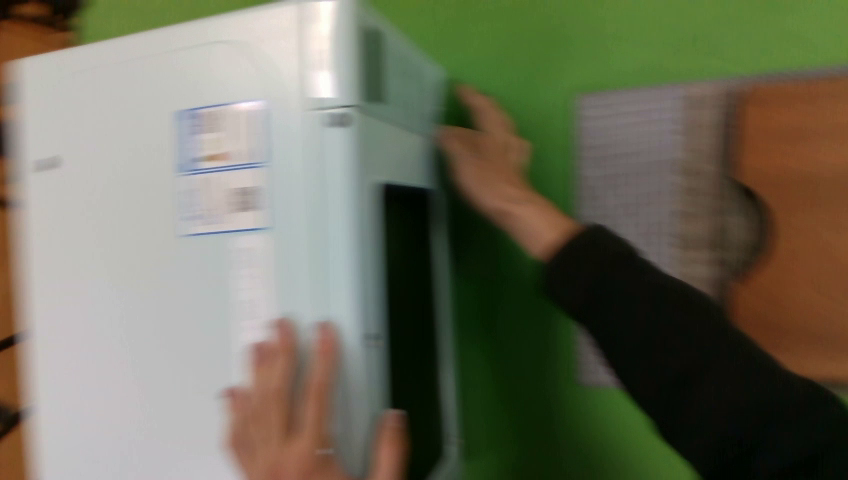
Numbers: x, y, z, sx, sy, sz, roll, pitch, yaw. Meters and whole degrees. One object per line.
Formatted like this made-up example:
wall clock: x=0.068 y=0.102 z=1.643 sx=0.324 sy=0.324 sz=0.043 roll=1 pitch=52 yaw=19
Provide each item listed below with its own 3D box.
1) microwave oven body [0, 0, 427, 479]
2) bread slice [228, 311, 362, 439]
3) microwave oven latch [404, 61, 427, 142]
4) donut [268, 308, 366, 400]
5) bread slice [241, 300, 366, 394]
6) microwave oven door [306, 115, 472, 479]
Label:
microwave oven body: x=-0.160 y=0.056 z=0.575 sx=0.325 sy=0.261 sz=0.441 roll=-5 pitch=92 yaw=17
bread slice: x=-0.124 y=0.132 z=0.556 sx=0.134 sy=0.018 sz=0.107 roll=-25 pitch=89 yaw=30
microwave oven latch: x=-0.013 y=-0.140 z=0.618 sx=0.030 sy=0.029 sz=0.079 roll=5 pitch=95 yaw=16
donut: x=-0.106 y=0.113 z=0.600 sx=0.099 sy=0.048 sz=0.099 roll=1 pitch=112 yaw=4
bread slice: x=-0.128 y=0.116 z=0.642 sx=0.131 sy=0.019 sz=0.105 roll=-2 pitch=103 yaw=4
microwave oven door: x=-0.018 y=0.085 z=0.528 sx=0.039 sy=0.244 sz=0.355 roll=-6 pitch=92 yaw=18
